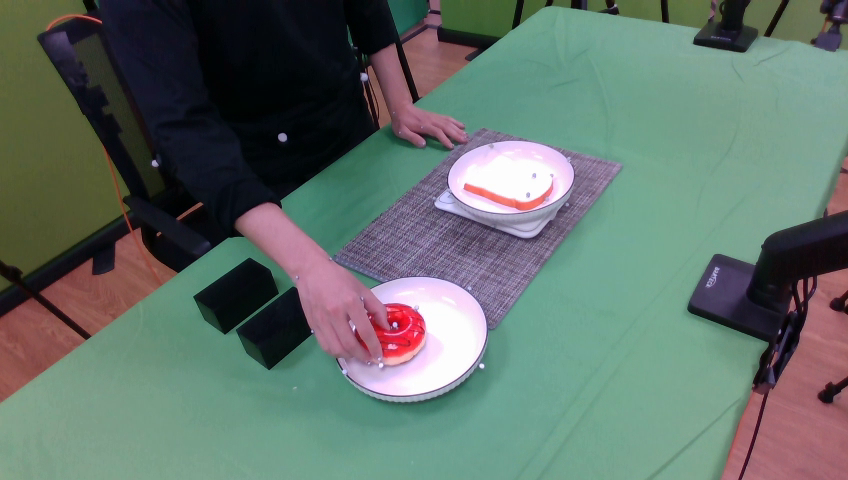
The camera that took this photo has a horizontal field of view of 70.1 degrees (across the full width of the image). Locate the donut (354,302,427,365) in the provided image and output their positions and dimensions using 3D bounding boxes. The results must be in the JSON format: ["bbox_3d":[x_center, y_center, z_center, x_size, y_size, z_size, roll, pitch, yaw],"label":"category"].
[{"bbox_3d":[-0.044,0.122,0.799,0.099,0.048,0.098,-2,38,2],"label":"donut"}]

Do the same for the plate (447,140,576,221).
[{"bbox_3d":[0.143,-0.094,0.995,0.209,0.038,0.208,-4,41,4],"label":"plate"}]

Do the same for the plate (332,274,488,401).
[{"bbox_3d":[-0.017,0.131,0.808,0.207,0.039,0.206,-4,41,4],"label":"plate"}]

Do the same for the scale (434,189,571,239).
[{"bbox_3d":[0.132,-0.075,1.025,0.199,0.032,0.149,22,48,30],"label":"scale"}]

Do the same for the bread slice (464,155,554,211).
[{"bbox_3d":[0.149,-0.095,0.998,0.130,0.019,0.105,25,51,32],"label":"bread slice"}]
